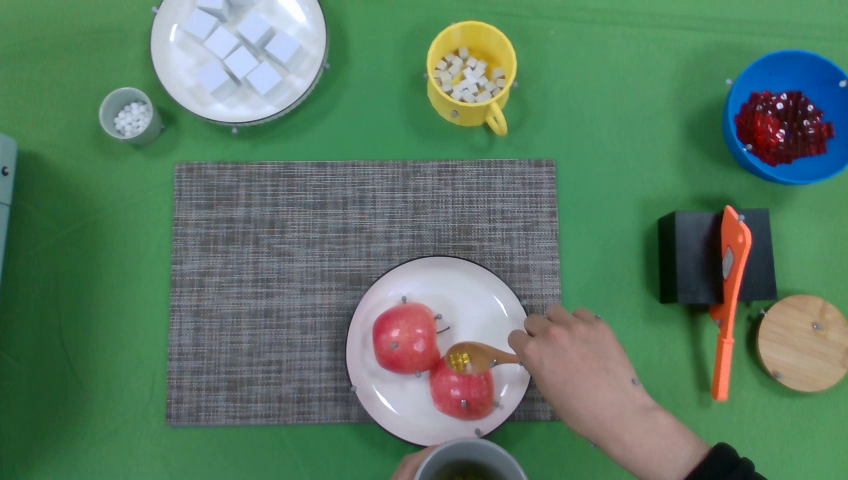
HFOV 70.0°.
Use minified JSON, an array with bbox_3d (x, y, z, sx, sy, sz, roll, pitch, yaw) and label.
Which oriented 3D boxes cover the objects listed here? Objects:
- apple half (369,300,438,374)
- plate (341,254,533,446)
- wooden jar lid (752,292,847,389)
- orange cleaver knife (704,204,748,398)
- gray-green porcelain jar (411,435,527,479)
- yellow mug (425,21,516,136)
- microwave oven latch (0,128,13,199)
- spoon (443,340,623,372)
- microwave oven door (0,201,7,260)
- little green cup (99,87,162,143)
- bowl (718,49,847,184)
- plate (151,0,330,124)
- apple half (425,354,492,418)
[{"bbox_3d":[-0.023,0.106,0.659,0.074,0.053,0.080,-3,83,2],"label":"apple half"},{"bbox_3d":[0.014,0.119,0.673,0.209,0.038,0.208,0,83,0],"label":"plate"},{"bbox_3d":[0.424,0.113,0.688,0.108,0.021,0.108,0,83,1],"label":"wooden jar lid"},{"bbox_3d":[0.323,0.068,0.662,0.012,0.077,0.212,0,107,3],"label":"orange cleaver knife"},{"bbox_3d":[0.038,0.254,0.560,0.106,0.127,0.105,0,52,0],"label":"gray-green porcelain jar"},{"bbox_3d":[0.059,-0.178,0.701,0.100,0.064,0.130,-29,85,-4],"label":"yellow mug"},{"bbox_3d":[-0.488,-0.088,0.683,0.030,0.029,0.079,6,83,0],"label":"microwave oven latch"},{"bbox_3d":[0.096,0.110,0.576,0.021,0.193,0.042,-46,116,-42],"label":"spoon"},{"bbox_3d":[-0.500,0.116,0.554,0.039,0.244,0.354,2,82,1],"label":"microwave oven door"},{"bbox_3d":[-0.340,-0.143,0.708,0.061,0.039,0.061,0,84,0],"label":"little green cup"},{"bbox_3d":[0.399,-0.130,0.689,0.151,0.077,0.151,0,83,0],"label":"bowl"},{"bbox_3d":[-0.214,-0.235,0.721,0.208,0.039,0.207,0,83,0],"label":"plate"},{"bbox_3d":[0.038,0.158,0.662,0.081,0.033,0.081,0,79,0],"label":"apple half"}]
